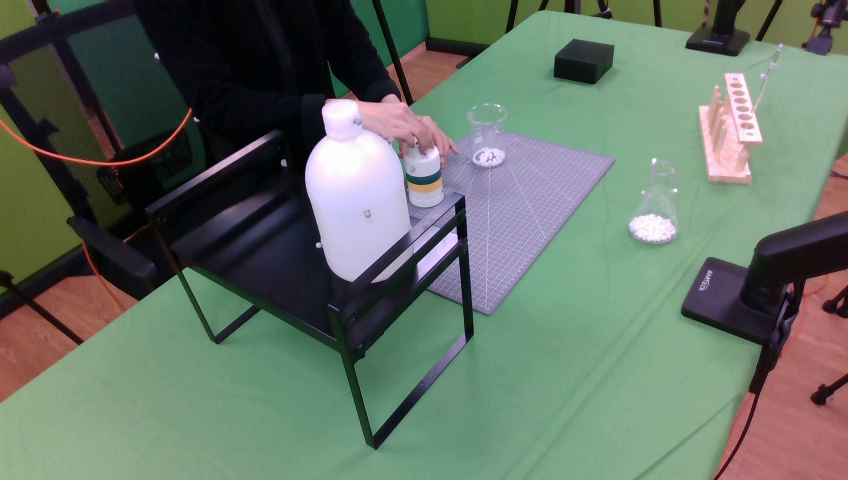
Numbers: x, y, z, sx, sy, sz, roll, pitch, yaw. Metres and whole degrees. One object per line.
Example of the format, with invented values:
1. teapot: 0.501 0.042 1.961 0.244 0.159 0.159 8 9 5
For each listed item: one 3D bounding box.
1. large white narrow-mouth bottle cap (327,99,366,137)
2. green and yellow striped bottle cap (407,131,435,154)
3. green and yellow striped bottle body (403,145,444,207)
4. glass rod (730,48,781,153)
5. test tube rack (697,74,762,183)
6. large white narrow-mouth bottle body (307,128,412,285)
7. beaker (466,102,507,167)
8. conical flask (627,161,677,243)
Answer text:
1. large white narrow-mouth bottle cap: -0.075 -0.118 0.582 0.038 0.024 0.037 -3 40 3
2. green and yellow striped bottle cap: -0.005 -0.162 1.006 0.045 0.020 0.045 -6 40 5
3. green and yellow striped bottle body: -0.001 -0.122 1.039 0.063 0.120 0.063 -4 40 4
4. glass rod: 0.554 -0.228 1.015 0.008 0.200 0.008 1 44 -1
5. test tube rack: 0.547 -0.208 1.095 0.066 0.085 0.242 5 42 15
6. large white narrow-mouth bottle body: -0.070 -0.051 0.638 0.102 0.195 0.101 -3 40 3
7. beaker: 0.121 -0.195 1.124 0.084 0.101 0.073 -34 48 -28
8. conical flask: 0.355 -0.061 0.921 0.075 0.122 0.075 -4 41 4
